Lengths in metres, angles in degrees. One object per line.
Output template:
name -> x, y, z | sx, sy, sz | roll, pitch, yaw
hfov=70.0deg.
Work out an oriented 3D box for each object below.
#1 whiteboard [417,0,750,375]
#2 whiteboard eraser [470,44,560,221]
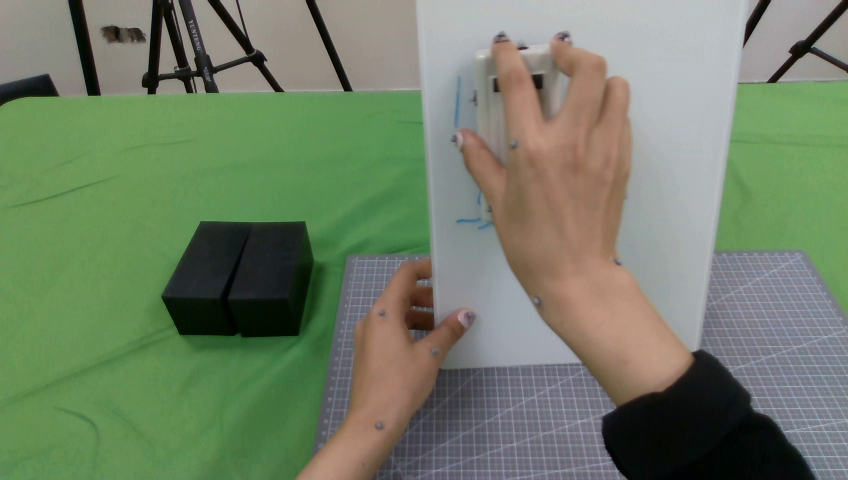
whiteboard -> 0.111, -0.061, 0.501 | 0.217, 0.307, 0.143 | -3, 23, 1
whiteboard eraser -> 0.062, -0.070, 0.404 | 0.055, 0.113, 0.041 | -4, 20, 5
